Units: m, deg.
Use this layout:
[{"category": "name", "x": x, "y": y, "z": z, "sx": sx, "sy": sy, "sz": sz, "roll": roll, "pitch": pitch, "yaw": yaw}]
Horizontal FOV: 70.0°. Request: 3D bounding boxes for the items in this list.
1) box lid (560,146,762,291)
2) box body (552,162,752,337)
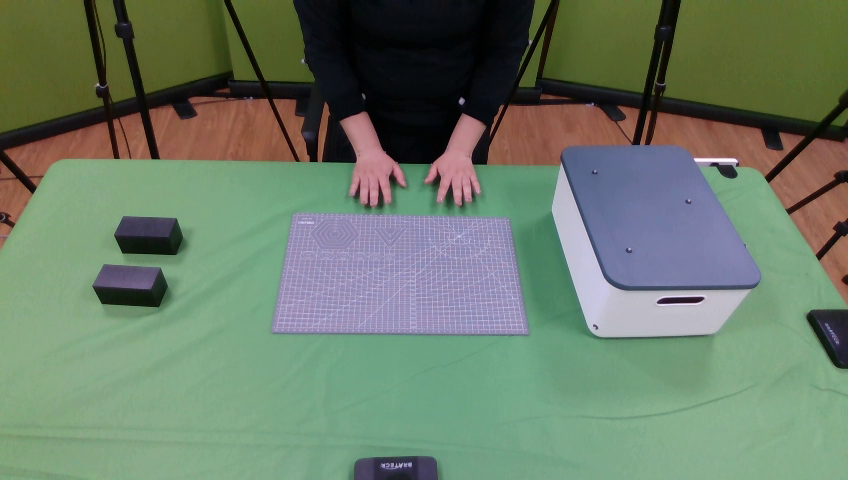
[{"category": "box lid", "x": 0.404, "y": -0.052, "z": 1.076, "sx": 0.263, "sy": 0.015, "sz": 0.369, "roll": -1, "pitch": 45, "yaw": -5}, {"category": "box body", "x": 0.401, "y": -0.001, "z": 1.131, "sx": 0.254, "sy": 0.161, "sz": 0.361, "roll": -1, "pitch": 46, "yaw": -5}]
